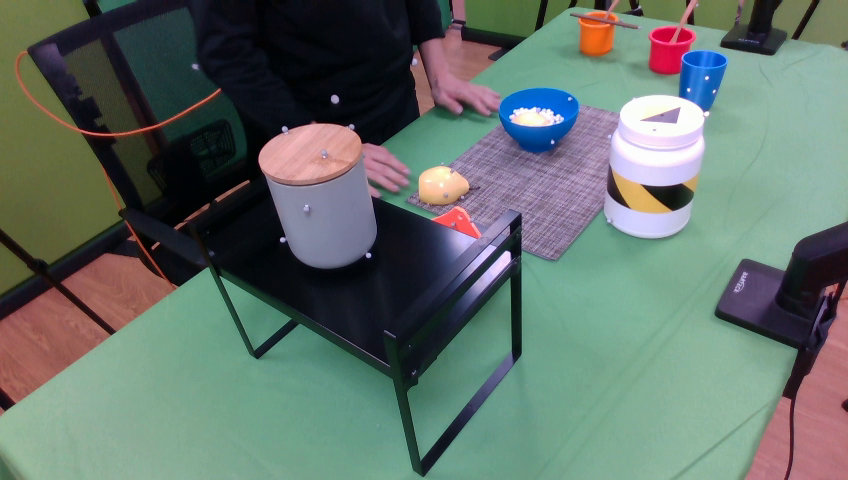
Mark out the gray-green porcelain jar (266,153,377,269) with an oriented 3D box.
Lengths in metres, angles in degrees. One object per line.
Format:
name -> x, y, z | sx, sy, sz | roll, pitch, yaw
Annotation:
gray-green porcelain jar -> -0.112, -0.039, 0.685 | 0.106, 0.127, 0.105 | -4, 40, 4

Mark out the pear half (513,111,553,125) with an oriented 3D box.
pear half -> 0.212, -0.227, 1.152 | 0.088, 0.031, 0.070 | 7, 44, 10

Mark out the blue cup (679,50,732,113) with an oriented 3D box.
blue cup -> 0.545, -0.309, 1.193 | 0.092, 0.100, 0.092 | -4, 39, 3

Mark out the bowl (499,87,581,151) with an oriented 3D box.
bowl -> 0.220, -0.223, 1.155 | 0.151, 0.077, 0.150 | -4, 40, 4

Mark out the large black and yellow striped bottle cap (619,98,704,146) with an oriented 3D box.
large black and yellow striped bottle cap -> 0.341, -0.172, 0.873 | 0.115, 0.019, 0.114 | -4, 39, 4

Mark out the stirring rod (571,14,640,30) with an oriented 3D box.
stirring rod -> 0.419, -0.508, 1.404 | 0.174, 0.006, 0.014 | 28, 55, 35

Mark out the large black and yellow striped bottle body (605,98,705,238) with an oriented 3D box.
large black and yellow striped bottle body -> 0.352, -0.110, 0.928 | 0.131, 0.185, 0.130 | -5, 41, 5

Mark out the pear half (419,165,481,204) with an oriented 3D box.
pear half -> 0.046, -0.103, 1.067 | 0.110, 0.056, 0.076 | -3, 46, 0

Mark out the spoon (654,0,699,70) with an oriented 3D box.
spoon -> 0.567, -0.463, 1.337 | 0.041, 0.022, 0.193 | 30, 96, 38

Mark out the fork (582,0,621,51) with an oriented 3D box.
fork -> 0.446, -0.539, 1.438 | 0.207, 0.019, 0.028 | -57, 36, 12

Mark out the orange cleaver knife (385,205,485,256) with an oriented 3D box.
orange cleaver knife -> 0.012, -0.010, 0.942 | 0.012, 0.077, 0.210 | -36, 19, -35

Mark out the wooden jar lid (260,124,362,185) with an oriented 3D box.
wooden jar lid -> -0.119, -0.088, 0.645 | 0.108, 0.021, 0.108 | -4, 40, 4
